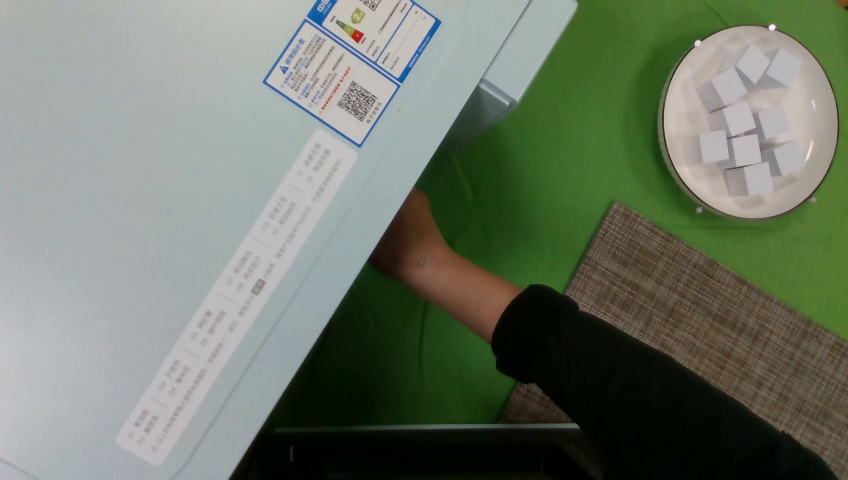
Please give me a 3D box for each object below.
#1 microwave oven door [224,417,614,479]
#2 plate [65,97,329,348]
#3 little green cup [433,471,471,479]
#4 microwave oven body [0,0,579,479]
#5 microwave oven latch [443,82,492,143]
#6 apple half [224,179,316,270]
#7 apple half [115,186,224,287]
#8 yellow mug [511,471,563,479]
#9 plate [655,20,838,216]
[{"bbox_3d":[0.008,0.200,0.495,0.357,0.243,0.039,2,90,-9],"label":"microwave oven door"},{"bbox_3d":[-0.186,-0.014,0.516,0.209,0.038,0.209,0,92,-10],"label":"plate"},{"bbox_3d":[0.031,0.268,0.619,0.062,0.038,0.061,0,91,-9],"label":"little green cup"},{"bbox_3d":[-0.168,-0.064,0.464,0.327,0.259,0.441,33,87,-9],"label":"microwave oven body"},{"bbox_3d":[0.037,-0.135,0.591,0.030,0.029,0.079,35,87,-9],"label":"microwave oven latch"},{"bbox_3d":[-0.136,-0.009,0.516,0.081,0.032,0.081,0,97,-3],"label":"apple half"},{"bbox_3d":[-0.213,0.002,0.494,0.074,0.053,0.081,-44,104,10],"label":"apple half"},{"bbox_3d":[0.111,0.310,0.619,0.100,0.064,0.131,41,88,-7],"label":"yellow mug"},{"bbox_3d":[0.344,-0.129,0.658,0.208,0.039,0.207,0,92,-9],"label":"plate"}]
